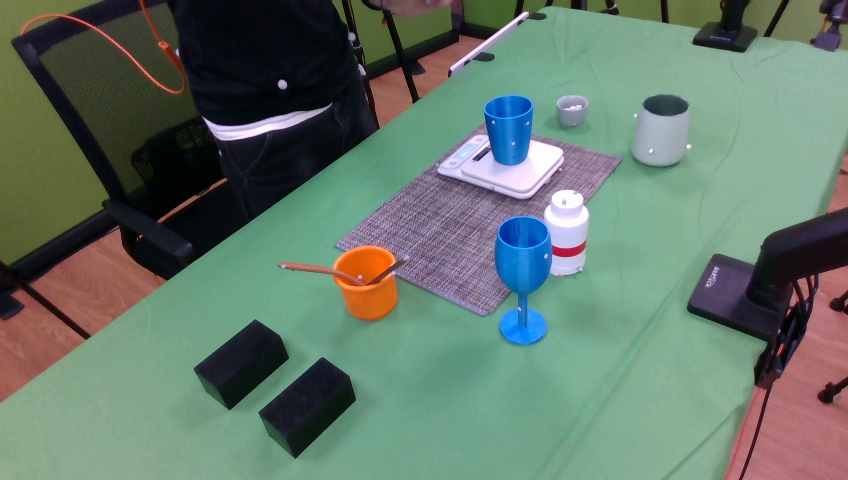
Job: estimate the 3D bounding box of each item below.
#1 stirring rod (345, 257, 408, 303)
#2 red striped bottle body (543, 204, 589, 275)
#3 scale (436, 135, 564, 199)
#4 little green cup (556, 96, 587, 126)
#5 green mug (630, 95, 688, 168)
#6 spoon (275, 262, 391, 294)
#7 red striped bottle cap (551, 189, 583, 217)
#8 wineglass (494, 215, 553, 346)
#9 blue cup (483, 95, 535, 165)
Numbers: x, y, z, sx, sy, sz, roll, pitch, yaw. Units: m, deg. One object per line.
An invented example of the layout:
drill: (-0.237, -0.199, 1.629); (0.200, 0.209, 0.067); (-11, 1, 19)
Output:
stirring rod: (-0.067, 0.057, 0.815); (0.014, 0.175, 0.006); (-24, 82, -38)
red striped bottle body: (0.206, -0.011, 0.877); (0.063, 0.120, 0.062); (-5, 41, 4)
scale: (0.137, -0.142, 1.101); (0.199, 0.032, 0.149); (22, 48, 30)
little green cup: (0.295, -0.258, 1.214); (0.061, 0.039, 0.061); (-4, 42, 4)
green mug: (0.421, -0.201, 1.081); (0.092, 0.105, 0.125); (5, 42, 15)
spoon: (-0.120, 0.050, 0.830); (0.041, 0.195, 0.021); (32, 97, 45)
red striped bottle cap: (0.200, -0.052, 0.843); (0.044, 0.018, 0.044); (-2, 42, 2)
wineglass: (0.126, 0.055, 0.770); (0.074, 0.173, 0.073); (-4, 40, 4)
blue cup: (0.148, -0.188, 1.053); (0.092, 0.100, 0.092); (-6, 39, 5)
